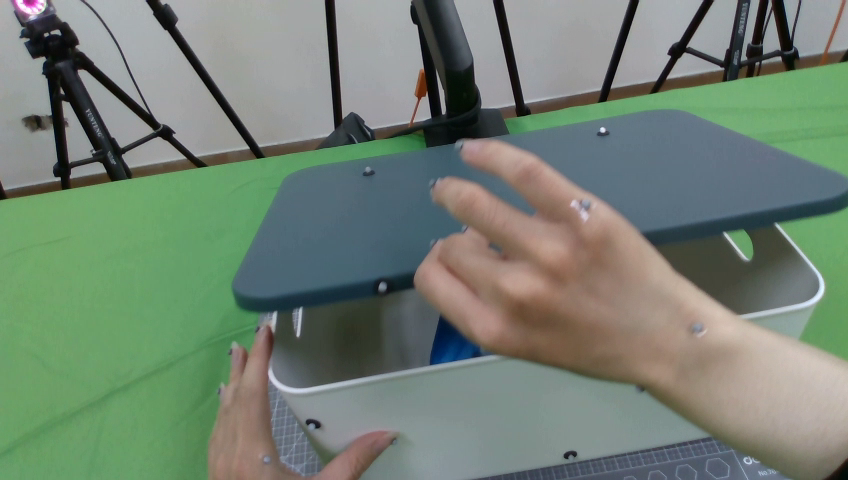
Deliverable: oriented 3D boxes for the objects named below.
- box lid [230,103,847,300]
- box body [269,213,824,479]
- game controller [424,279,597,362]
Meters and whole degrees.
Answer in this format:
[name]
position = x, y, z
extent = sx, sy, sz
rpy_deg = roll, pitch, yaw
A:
[box lid]
position = 0.060, -0.046, 0.448
extent = 0.372, 0.015, 0.261
rpy_deg = -10, 22, 0
[box body]
position = 0.078, 0.042, 0.516
extent = 0.364, 0.162, 0.251
rpy_deg = -10, 40, 0
[game controller]
position = 0.082, 0.075, 0.555
extent = 0.155, 0.052, 0.096
rpy_deg = 4, 34, 10
